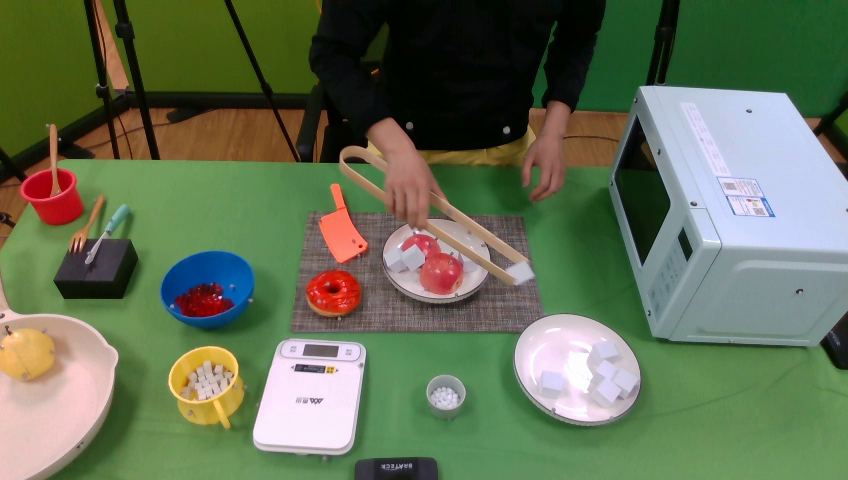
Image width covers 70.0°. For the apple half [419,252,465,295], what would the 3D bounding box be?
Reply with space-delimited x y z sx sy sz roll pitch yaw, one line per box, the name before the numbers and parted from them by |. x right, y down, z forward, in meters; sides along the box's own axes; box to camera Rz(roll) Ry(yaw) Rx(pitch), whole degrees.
apple half | 0.035 0.056 1.109 0.074 0.053 0.081 37 55 24

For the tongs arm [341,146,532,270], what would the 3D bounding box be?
tongs arm | 0.014 -0.055 1.048 0.383 0.026 0.050 37 56 15

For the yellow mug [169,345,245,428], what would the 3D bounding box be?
yellow mug | -0.322 0.230 0.922 0.100 0.064 0.130 -24 53 -25

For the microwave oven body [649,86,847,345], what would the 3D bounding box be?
microwave oven body | 0.567 -0.053 1.118 0.326 0.261 0.439 2 45 -1

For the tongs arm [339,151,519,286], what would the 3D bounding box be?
tongs arm | -0.002 -0.038 1.031 0.386 0.028 0.028 34 59 13

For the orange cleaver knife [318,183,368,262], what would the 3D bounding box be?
orange cleaver knife | -0.173 -0.037 1.218 0.077 0.012 0.210 -16 50 -12

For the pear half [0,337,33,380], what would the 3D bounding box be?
pear half | -0.631 0.184 0.921 0.070 0.088 0.031 29 49 19

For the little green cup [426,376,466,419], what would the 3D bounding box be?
little green cup | 0.033 0.248 0.950 0.061 0.039 0.061 2 46 -2

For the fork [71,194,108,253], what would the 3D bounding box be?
fork | -0.634 -0.036 1.158 0.028 0.019 0.206 -7 31 -8

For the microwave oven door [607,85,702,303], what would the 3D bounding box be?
microwave oven door | 0.423 -0.094 1.140 0.039 0.245 0.353 2 46 -1

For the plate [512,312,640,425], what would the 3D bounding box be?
plate | 0.246 0.213 0.999 0.208 0.039 0.206 2 46 -2

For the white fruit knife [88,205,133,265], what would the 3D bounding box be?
white fruit knife | -0.584 -0.013 1.129 0.016 0.027 0.206 0 32 -5

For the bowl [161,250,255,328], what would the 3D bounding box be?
bowl | -0.362 0.098 1.039 0.151 0.077 0.150 2 45 -2

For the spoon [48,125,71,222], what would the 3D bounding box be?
spoon | -0.718 -0.131 1.188 0.041 0.021 0.193 -3 90 -7

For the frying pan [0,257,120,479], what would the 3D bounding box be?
frying pan | -0.647 0.164 0.936 0.307 0.103 0.485 -19 58 -22

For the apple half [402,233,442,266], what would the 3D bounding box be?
apple half | -0.004 0.013 1.159 0.081 0.033 0.081 5 44 -4

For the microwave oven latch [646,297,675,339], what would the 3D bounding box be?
microwave oven latch | 0.412 0.134 1.061 0.030 0.029 0.078 4 45 1

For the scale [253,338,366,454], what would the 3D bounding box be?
scale | -0.175 0.236 0.951 0.149 0.032 0.199 4 45 -1

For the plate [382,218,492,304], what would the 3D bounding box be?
plate | 0.024 0.042 1.143 0.209 0.038 0.208 2 46 -2

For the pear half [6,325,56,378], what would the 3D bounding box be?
pear half | -0.608 0.158 0.935 0.076 0.110 0.056 31 51 20

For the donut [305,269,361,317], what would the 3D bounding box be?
donut | -0.160 0.094 1.075 0.099 0.048 0.098 4 46 -3
